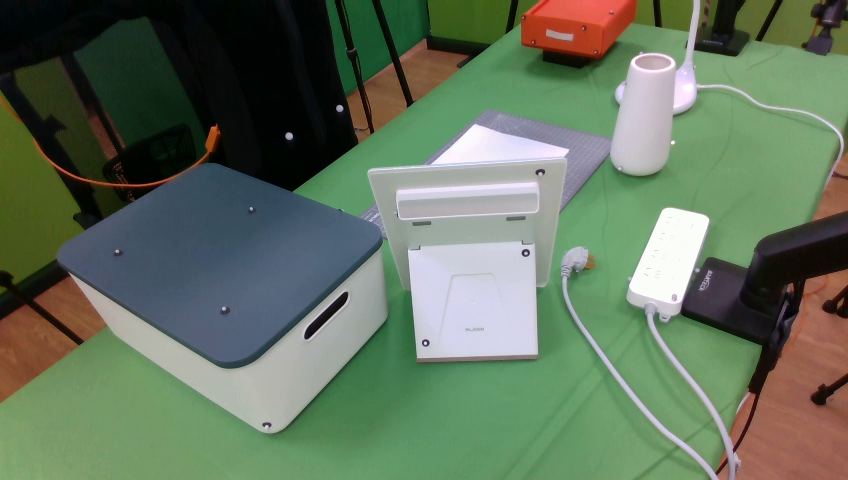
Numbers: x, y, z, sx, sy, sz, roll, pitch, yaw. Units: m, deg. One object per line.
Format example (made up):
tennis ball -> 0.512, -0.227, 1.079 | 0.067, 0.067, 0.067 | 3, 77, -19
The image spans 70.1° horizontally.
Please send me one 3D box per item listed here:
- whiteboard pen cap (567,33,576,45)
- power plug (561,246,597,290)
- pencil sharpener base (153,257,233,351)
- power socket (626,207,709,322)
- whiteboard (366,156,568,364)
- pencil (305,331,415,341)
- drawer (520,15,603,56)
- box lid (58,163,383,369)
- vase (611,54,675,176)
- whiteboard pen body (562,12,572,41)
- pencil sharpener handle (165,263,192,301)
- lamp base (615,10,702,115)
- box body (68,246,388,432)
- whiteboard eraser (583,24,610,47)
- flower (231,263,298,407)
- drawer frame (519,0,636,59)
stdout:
whiteboard pen cap -> 0.339, -0.463, 1.390 | 0.018, 0.018, 0.033 | -2, 44, 6
power plug -> 0.228, 0.044, 0.897 | 0.053, 0.035, 0.072 | 15, 82, -9
pencil sharpener base -> -0.322, 0.088, 0.843 | 0.061, 0.107, 0.076 | -28, 44, -20
power socket -> 0.360, 0.026, 0.886 | 0.072, 0.033, 0.227 | 17, 46, 26
whiteboard -> 0.059, 0.050, 0.738 | 0.217, 0.307, 0.143 | -2, 60, 6
pencil -> -0.084, 0.136, 0.838 | 0.194, 0.012, 0.012 | -5, 40, -3
drawer -> 0.360, -0.517, 1.416 | 0.193, 0.073, 0.212 | 20, 47, 29
box lid -> -0.262, 0.010, 0.777 | 0.369, 0.015, 0.264 | 21, 47, 29
vase -> 0.377, -0.209, 1.031 | 0.098, 0.201, 0.097 | -3, 40, 3
whiteboard pen body -> 0.340, -0.505, 1.431 | 0.017, 0.017, 0.140 | -1, 44, 7
pencil sharpener handle -> -0.354, 0.055, 0.867 | 0.036, 0.068, 0.030 | -16, 39, -30
lamp base -> 0.484, -0.363, 1.211 | 0.180, 0.181, 0.159 | -15, 41, -14
box body -> -0.256, 0.065, 0.826 | 0.361, 0.161, 0.255 | 20, 48, 29
whiteboard eraser -> 0.407, -0.479, 1.423 | 0.055, 0.042, 0.113 | -2, 9, 21
flower -> -0.246, 0.116, 0.872 | 0.044, 0.038, 0.358 | -21, 33, -17
drawer frame -> 0.362, -0.518, 1.423 | 0.200, 0.083, 0.214 | 19, 48, 29
